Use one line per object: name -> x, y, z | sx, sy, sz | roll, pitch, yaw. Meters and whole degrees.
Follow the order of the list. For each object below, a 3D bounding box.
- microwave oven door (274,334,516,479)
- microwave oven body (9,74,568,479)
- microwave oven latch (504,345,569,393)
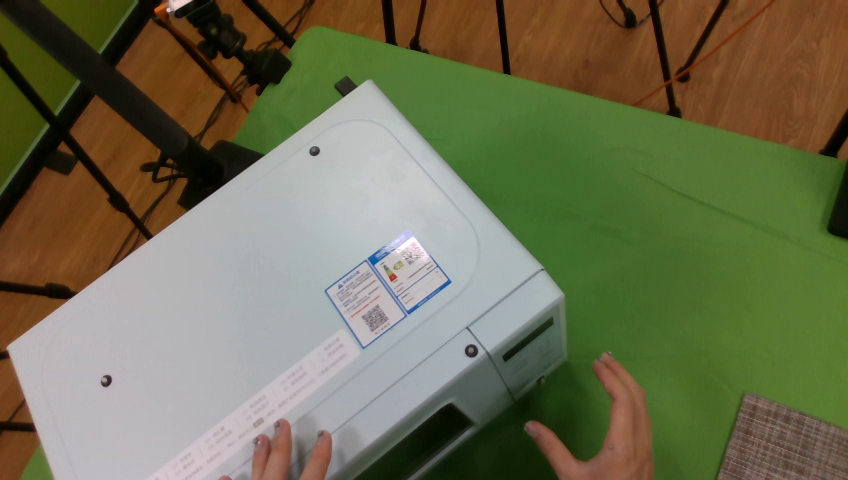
microwave oven door -> -0.072, 0.229, 0.573 | 0.356, 0.246, 0.039 | -38, 63, -4
microwave oven body -> -0.121, 0.105, 0.644 | 0.441, 0.262, 0.323 | -38, 64, -3
microwave oven latch -> 0.126, 0.137, 0.678 | 0.079, 0.030, 0.030 | -36, 64, -2
